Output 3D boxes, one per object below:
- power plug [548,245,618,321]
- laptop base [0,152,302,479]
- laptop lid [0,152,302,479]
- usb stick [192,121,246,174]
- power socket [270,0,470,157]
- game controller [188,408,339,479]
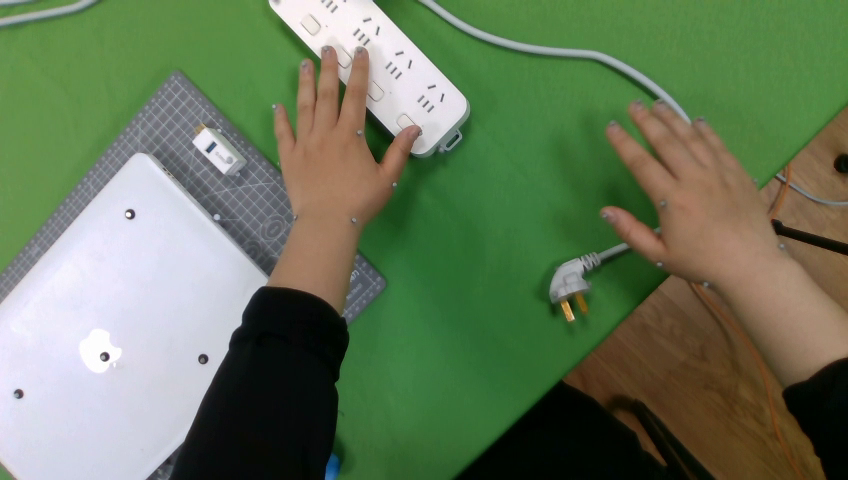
[{"bbox_3d":[0.146,0.038,0.543,0.072,0.035,0.052,-26,73,21],"label":"power plug"},{"bbox_3d":[-0.318,0.112,0.623,0.354,0.023,0.235,-45,91,8],"label":"laptop base"},{"bbox_3d":[-0.318,0.115,0.611,0.357,0.013,0.241,-43,90,9],"label":"laptop lid"},{"bbox_3d":[-0.203,-0.092,0.585,0.059,0.027,0.021,46,100,5],"label":"usb stick"},{"bbox_3d":[-0.050,-0.172,0.558,0.072,0.032,0.226,-44,87,10],"label":"power socket"},{"bbox_3d":[-0.168,0.240,0.599,0.155,0.052,0.097,-44,83,8],"label":"game controller"}]
